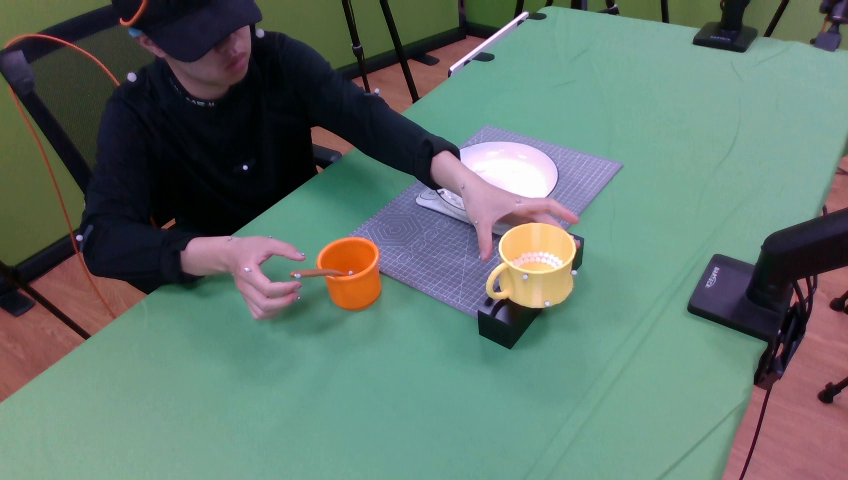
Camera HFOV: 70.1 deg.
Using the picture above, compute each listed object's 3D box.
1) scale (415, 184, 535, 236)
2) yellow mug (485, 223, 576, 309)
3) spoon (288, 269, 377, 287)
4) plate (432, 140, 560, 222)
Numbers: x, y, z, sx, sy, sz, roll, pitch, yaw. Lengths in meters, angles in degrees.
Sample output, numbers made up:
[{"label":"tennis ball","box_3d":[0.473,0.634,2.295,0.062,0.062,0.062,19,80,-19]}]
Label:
[{"label":"scale","box_3d":[0.099,-0.079,1.035,0.199,0.032,0.149,23,48,31]},{"label":"yellow mug","box_3d":[0.135,0.039,0.793,0.131,0.064,0.099,-25,43,-20]},{"label":"spoon","box_3d":[-0.123,0.050,0.831,0.041,0.195,0.021,24,93,27]},{"label":"plate","box_3d":[0.118,-0.094,0.999,0.209,0.038,0.208,-5,41,4]}]
